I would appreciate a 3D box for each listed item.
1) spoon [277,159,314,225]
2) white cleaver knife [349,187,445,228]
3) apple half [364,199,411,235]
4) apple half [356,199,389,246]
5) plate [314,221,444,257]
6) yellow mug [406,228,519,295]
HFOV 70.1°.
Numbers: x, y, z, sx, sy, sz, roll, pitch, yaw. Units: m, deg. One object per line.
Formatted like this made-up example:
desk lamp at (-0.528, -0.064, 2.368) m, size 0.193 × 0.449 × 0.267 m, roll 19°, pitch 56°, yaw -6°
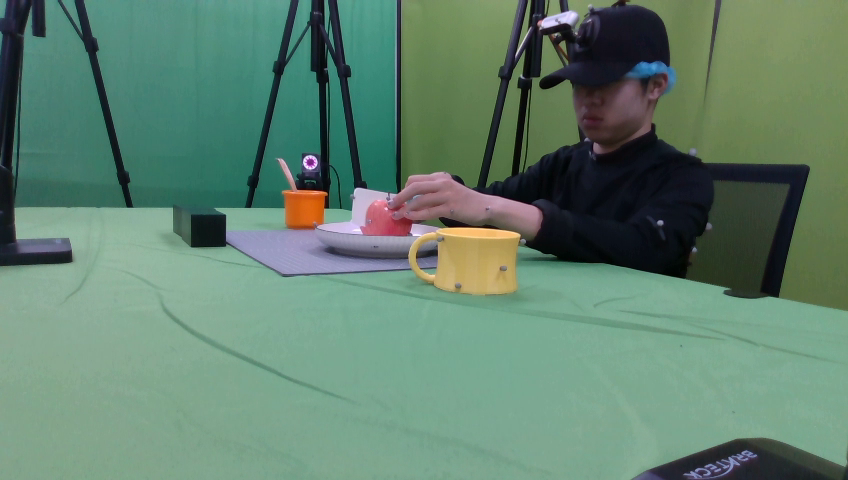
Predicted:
spoon at (-0.272, -0.103, 1.260) m, size 0.042 × 0.193 × 0.021 m, roll -4°, pitch -34°, yaw -33°
white cleaver knife at (-0.041, -0.048, 1.000) m, size 0.021 × 0.066 × 0.288 m, roll 5°, pitch 3°, yaw 30°
apple half at (-0.049, -0.024, 0.927) m, size 0.053 × 0.074 × 0.081 m, roll 13°, pitch 5°, yaw 28°
apple half at (-0.086, -0.028, 0.947) m, size 0.032 × 0.081 × 0.081 m, roll 4°, pitch 7°, yaw 28°
plate at (-0.066, -0.002, 0.948) m, size 0.209 × 0.038 × 0.209 m, roll 3°, pitch 7°, yaw 0°
yellow mug at (0.044, 0.022, 0.707) m, size 0.131 × 0.064 × 0.100 m, roll 2°, pitch 7°, yaw 5°
